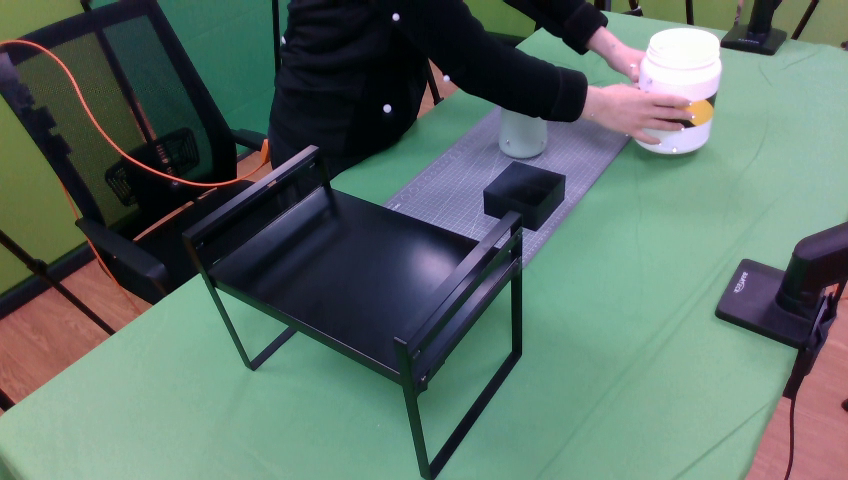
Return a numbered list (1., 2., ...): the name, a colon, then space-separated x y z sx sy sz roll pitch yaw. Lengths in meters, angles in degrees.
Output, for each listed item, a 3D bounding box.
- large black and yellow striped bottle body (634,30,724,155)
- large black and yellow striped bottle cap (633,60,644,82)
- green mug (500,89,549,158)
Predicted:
1. large black and yellow striped bottle body: 0.443 -0.257 1.057 0.131 0.185 0.130 -5 41 5
2. large black and yellow striped bottle cap: 0.522 -0.370 1.331 0.115 0.019 0.114 -3 41 4
3. green mug: 0.195 -0.227 1.145 0.092 0.105 0.125 14 45 24
